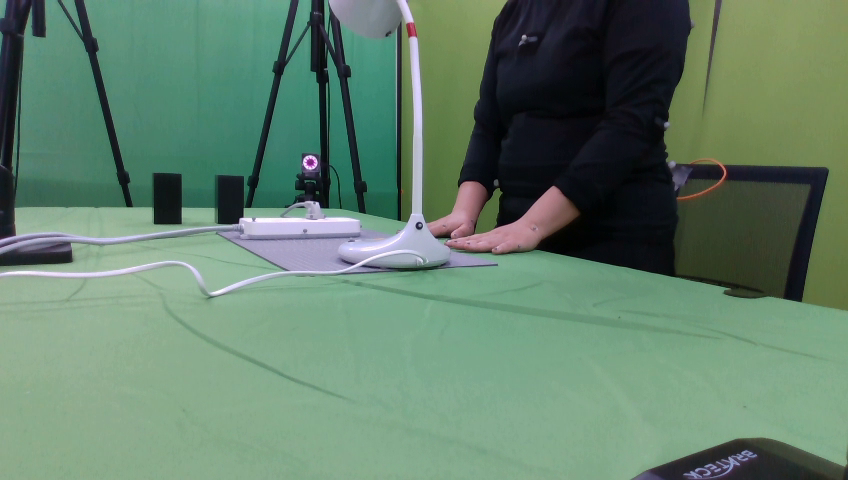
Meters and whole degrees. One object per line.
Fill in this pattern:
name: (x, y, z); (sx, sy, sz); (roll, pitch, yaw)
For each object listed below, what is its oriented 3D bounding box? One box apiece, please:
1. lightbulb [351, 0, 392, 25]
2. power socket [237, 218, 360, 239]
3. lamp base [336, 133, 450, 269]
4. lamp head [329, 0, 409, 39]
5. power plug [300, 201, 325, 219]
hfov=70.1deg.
lightbulb: (-0.070, -0.355, 0.866); (0.060, 0.059, 0.107); (0, -21, -20)
power socket: (-0.220, -0.023, 1.080); (0.228, 0.032, 0.072); (-2, 7, -33)
lamp base: (-0.032, -0.057, 0.830); (0.161, 0.180, 0.178); (-2, 11, -34)
lamp head: (-0.062, -0.357, 0.842); (0.113, 0.112, 0.122); (-1, -14, -29)
power plug: (-0.207, -0.046, 1.120); (0.035, 0.052, 0.072); (2, 4, -22)
